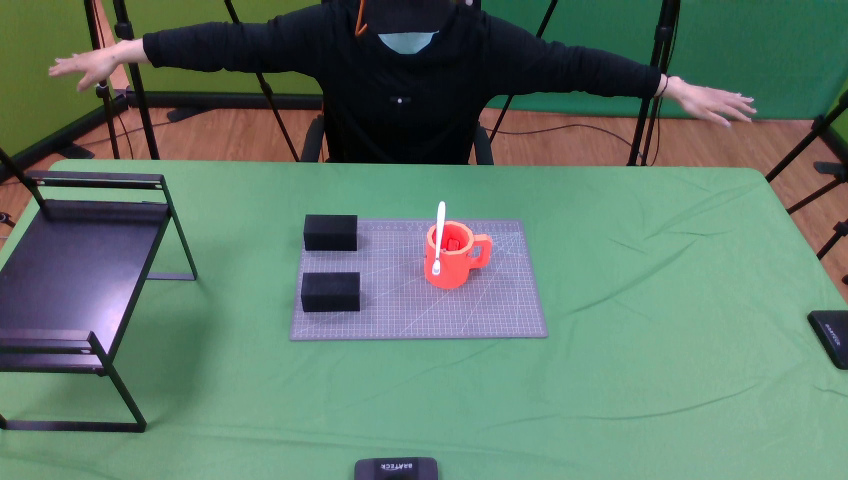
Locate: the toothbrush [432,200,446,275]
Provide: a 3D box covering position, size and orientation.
[{"bbox_3d":[0.028,-0.010,1.076,0.014,0.017,0.181,4,46,3],"label":"toothbrush"}]

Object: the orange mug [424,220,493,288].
[{"bbox_3d":[0.064,0.023,1.119,0.126,0.101,0.083,-9,47,-7],"label":"orange mug"}]
